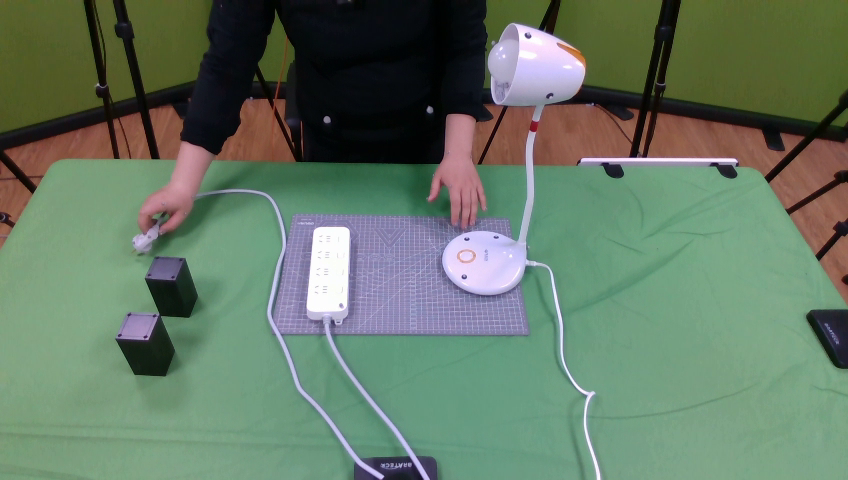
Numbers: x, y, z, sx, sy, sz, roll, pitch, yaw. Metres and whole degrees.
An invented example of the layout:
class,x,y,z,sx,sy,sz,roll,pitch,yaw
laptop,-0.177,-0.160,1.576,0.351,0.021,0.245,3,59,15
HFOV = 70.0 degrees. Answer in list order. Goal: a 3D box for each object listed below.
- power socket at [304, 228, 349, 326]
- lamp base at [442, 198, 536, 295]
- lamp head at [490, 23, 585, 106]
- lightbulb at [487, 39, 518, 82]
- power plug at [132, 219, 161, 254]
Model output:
class,x,y,z,sx,sy,sz,roll,pitch,yaw
power socket,-0.177,0.059,1.115,0.072,0.033,0.225,-1,46,-4
lamp base,0.130,-0.012,1.104,0.179,0.181,0.159,-1,46,-9
lamp head,0.165,-0.241,0.872,0.123,0.113,0.111,9,43,-17
lightbulb,0.143,-0.252,0.865,0.108,0.060,0.059,9,45,-7
power plug,-0.520,-0.001,1.142,0.052,0.035,0.072,-29,18,21
